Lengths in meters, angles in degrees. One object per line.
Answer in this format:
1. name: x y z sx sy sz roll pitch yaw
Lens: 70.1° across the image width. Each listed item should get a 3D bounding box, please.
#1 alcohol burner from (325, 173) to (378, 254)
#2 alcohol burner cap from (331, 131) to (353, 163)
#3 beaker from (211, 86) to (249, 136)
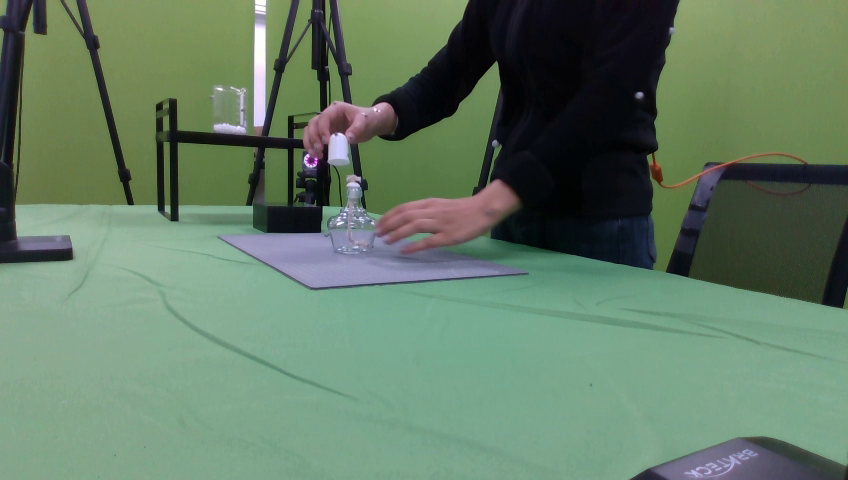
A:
1. alcohol burner: -0.106 -0.040 0.896 0.078 0.119 0.078 2 5 0
2. alcohol burner cap: -0.121 -0.138 0.897 0.034 0.048 0.034 1 5 0
3. beaker: -0.413 -0.274 1.297 0.074 0.100 0.083 -5 11 -44
